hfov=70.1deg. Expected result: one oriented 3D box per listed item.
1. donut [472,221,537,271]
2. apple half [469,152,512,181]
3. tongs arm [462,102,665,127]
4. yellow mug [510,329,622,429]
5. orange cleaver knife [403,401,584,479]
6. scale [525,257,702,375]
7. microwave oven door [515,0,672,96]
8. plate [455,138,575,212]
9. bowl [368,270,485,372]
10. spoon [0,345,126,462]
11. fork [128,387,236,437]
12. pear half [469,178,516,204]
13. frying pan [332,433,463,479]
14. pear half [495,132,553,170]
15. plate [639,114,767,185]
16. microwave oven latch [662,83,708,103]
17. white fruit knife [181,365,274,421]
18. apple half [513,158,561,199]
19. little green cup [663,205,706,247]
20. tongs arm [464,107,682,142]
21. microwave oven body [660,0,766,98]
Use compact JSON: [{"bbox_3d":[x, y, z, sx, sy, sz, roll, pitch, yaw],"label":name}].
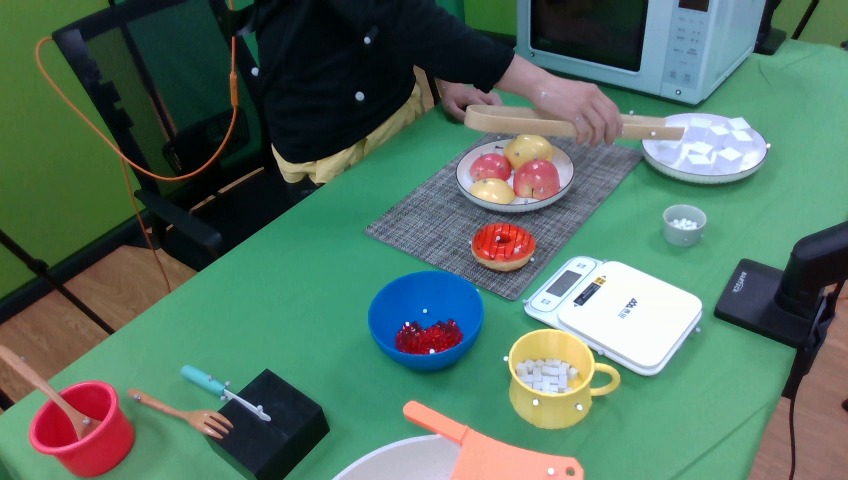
[{"bbox_3d":[0.123,0.008,0.923,0.099,0.048,0.098,-3,38,3],"label":"donut"},{"bbox_3d":[0.120,-0.139,1.089,0.081,0.033,0.081,0,44,0],"label":"apple half"},{"bbox_3d":[0.241,-0.195,0.989,0.387,0.026,0.050,2,30,-17],"label":"tongs arm"},{"bbox_3d":[0.168,0.164,0.721,0.130,0.064,0.099,0,40,8],"label":"yellow mug"},{"bbox_3d":[0.062,0.222,0.609,0.210,0.012,0.077,15,49,24],"label":"orange cleaver knife"},{"bbox_3d":[0.254,0.091,0.821,0.199,0.032,0.149,28,51,35],"label":"scale"},{"bbox_3d":[0.344,-0.455,1.259,0.353,0.245,0.039,26,51,33],"label":"microwave oven door"},{"bbox_3d":[0.159,-0.111,1.063,0.209,0.038,0.208,-4,40,4],"label":"plate"},{"bbox_3d":[0.007,0.119,0.791,0.151,0.077,0.150,-5,40,4],"label":"bowl"},{"bbox_3d":[-0.434,0.192,0.720,0.194,0.021,0.042,47,53,-6],"label":"spoon"},{"bbox_3d":[-0.305,0.207,0.744,0.206,0.019,0.028,3,41,36],"label":"fork"},{"bbox_3d":[0.115,-0.090,1.035,0.087,0.031,0.071,27,38,31],"label":"pear half"},{"bbox_3d":[-0.089,0.306,0.564,0.487,0.103,0.306,10,41,7],"label":"frying pan"},{"bbox_3d":[0.175,-0.167,1.094,0.109,0.056,0.076,15,54,29],"label":"pear half"},{"bbox_3d":[0.489,-0.157,1.074,0.207,0.039,0.206,-4,40,4],"label":"plate"},{"bbox_3d":[0.518,-0.296,1.204,0.078,0.029,0.030,28,52,35],"label":"microwave oven latch"},{"bbox_3d":[-0.245,0.187,0.747,0.205,0.027,0.016,9,42,40],"label":"white fruit knife"},{"bbox_3d":[0.194,-0.111,1.031,0.080,0.053,0.075,12,41,26],"label":"apple half"},{"bbox_3d":[0.396,-0.020,0.926,0.061,0.039,0.061,-4,40,4],"label":"little green cup"},{"bbox_3d":[0.250,-0.180,0.965,0.390,0.028,0.028,1,34,-19],"label":"tongs arm"},{"bbox_3d":[0.472,-0.513,1.317,0.438,0.261,0.327,26,51,34],"label":"microwave oven body"}]
